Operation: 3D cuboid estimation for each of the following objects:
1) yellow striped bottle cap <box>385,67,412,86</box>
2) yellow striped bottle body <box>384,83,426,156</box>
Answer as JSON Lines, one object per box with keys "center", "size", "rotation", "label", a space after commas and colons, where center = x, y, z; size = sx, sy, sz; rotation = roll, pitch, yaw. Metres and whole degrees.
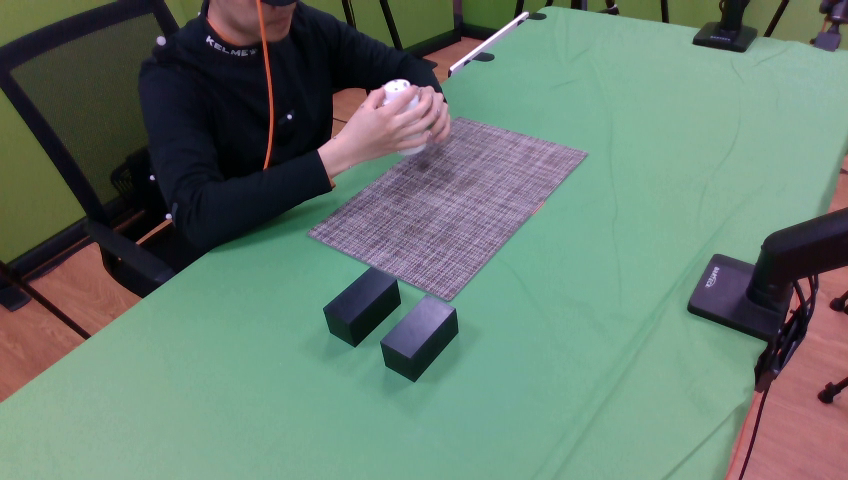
{"center": [-0.042, -0.275, 1.016], "size": [0.044, 0.019, 0.044], "rotation": [-9, 30, 6], "label": "yellow striped bottle cap"}
{"center": [-0.034, -0.214, 1.061], "size": [0.063, 0.121, 0.062], "rotation": [-5, 37, 4], "label": "yellow striped bottle body"}
